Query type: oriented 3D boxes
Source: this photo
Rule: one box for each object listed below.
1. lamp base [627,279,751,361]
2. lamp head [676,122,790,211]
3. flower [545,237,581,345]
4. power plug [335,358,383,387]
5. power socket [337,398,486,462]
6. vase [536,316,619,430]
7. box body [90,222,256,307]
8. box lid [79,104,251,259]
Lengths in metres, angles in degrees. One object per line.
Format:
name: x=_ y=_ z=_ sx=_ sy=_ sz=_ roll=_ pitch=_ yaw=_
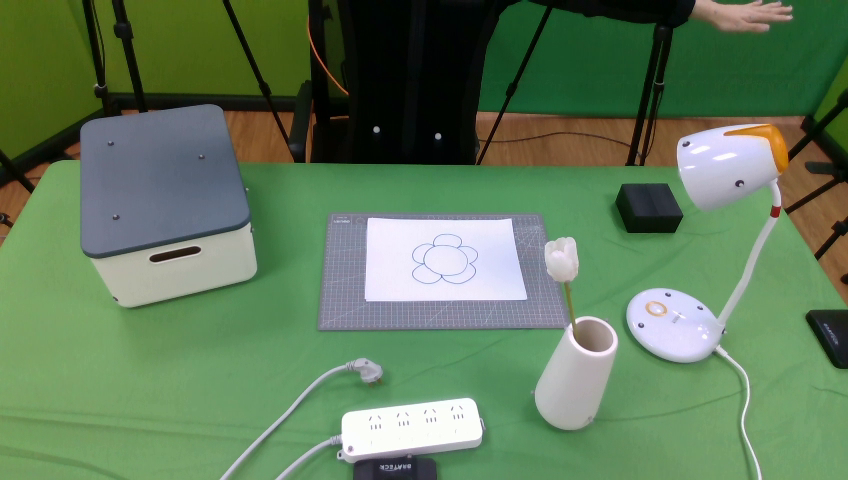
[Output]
lamp base: x=0.460 y=0.100 z=1.027 sx=0.178 sy=0.181 sz=0.160 roll=27 pitch=51 yaw=17
lamp head: x=0.423 y=-0.104 z=0.819 sx=0.122 sy=0.113 sz=0.112 roll=-13 pitch=33 yaw=39
flower: x=0.213 y=0.137 z=0.846 sx=0.038 sy=0.364 sz=0.044 roll=21 pitch=55 yaw=39
power plug: x=-0.099 y=0.213 z=0.977 sx=0.072 sy=0.053 sz=0.035 roll=-5 pitch=28 yaw=32
power socket: x=-0.018 y=0.285 z=0.914 sx=0.227 sy=0.033 sz=0.071 roll=-4 pitch=46 yaw=-8
vase: x=0.229 y=0.200 z=0.901 sx=0.098 sy=0.201 sz=0.097 roll=3 pitch=46 yaw=-3
box body: x=-0.471 y=-0.070 z=1.131 sx=0.254 sy=0.161 sz=0.361 roll=-14 pitch=49 yaw=-17
box lid: x=-0.467 y=-0.120 z=1.076 sx=0.264 sy=0.015 sz=0.369 roll=-13 pitch=49 yaw=-17
